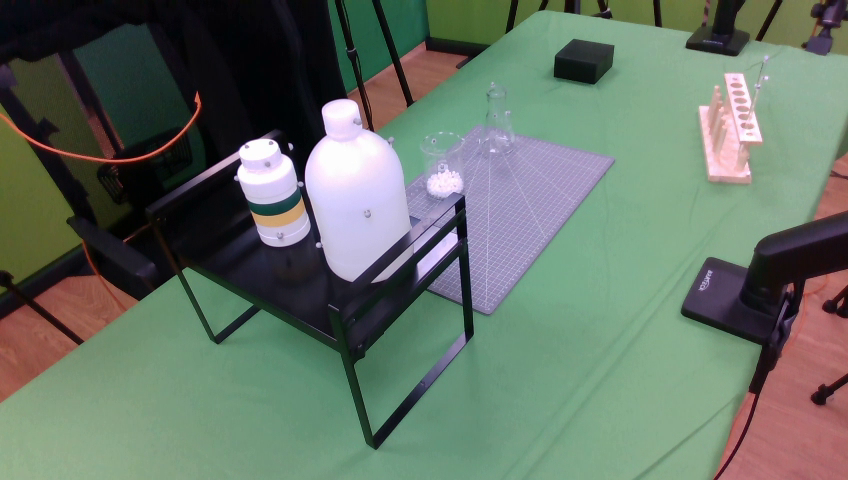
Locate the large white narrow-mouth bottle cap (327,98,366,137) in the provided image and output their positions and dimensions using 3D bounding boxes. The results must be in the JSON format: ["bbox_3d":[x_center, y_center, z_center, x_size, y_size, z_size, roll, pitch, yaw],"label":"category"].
[{"bbox_3d":[-0.075,-0.118,0.582,0.038,0.024,0.037,-3,40,3],"label":"large white narrow-mouth bottle cap"}]

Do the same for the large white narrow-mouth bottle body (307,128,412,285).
[{"bbox_3d":[-0.070,-0.051,0.638,0.102,0.195,0.101,-3,40,3],"label":"large white narrow-mouth bottle body"}]

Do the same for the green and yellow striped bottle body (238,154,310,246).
[{"bbox_3d":[-0.178,-0.056,0.714,0.063,0.120,0.063,-4,40,4],"label":"green and yellow striped bottle body"}]

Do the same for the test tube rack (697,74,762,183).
[{"bbox_3d":[0.547,-0.208,1.095,0.066,0.085,0.242,5,42,15],"label":"test tube rack"}]

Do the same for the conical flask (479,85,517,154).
[{"bbox_3d":[0.139,-0.230,1.145,0.075,0.122,0.075,-4,41,4],"label":"conical flask"}]

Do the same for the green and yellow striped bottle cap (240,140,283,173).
[{"bbox_3d":[-0.183,-0.094,0.679,0.045,0.020,0.045,-4,38,4],"label":"green and yellow striped bottle cap"}]

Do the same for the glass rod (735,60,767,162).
[{"bbox_3d":[0.534,-0.204,0.989,0.008,0.201,0.008,-6,46,6],"label":"glass rod"}]

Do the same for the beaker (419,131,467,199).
[{"bbox_3d":[0.037,-0.130,1.060,0.084,0.100,0.073,-14,41,-9],"label":"beaker"}]
